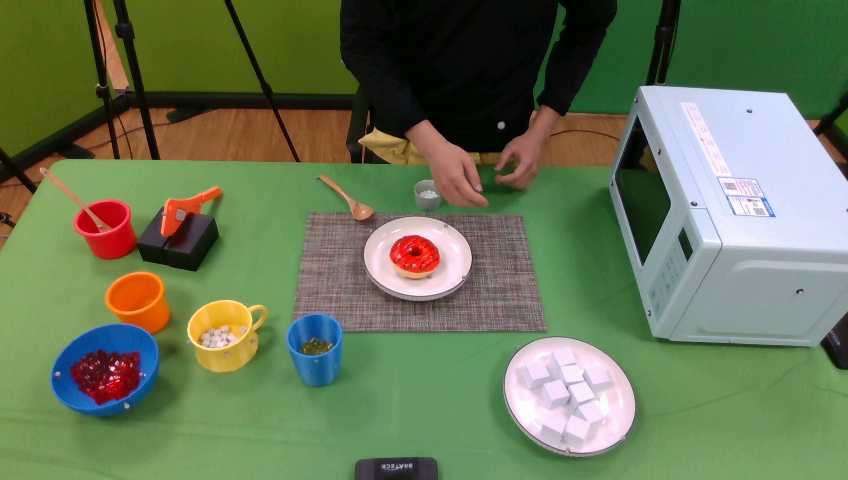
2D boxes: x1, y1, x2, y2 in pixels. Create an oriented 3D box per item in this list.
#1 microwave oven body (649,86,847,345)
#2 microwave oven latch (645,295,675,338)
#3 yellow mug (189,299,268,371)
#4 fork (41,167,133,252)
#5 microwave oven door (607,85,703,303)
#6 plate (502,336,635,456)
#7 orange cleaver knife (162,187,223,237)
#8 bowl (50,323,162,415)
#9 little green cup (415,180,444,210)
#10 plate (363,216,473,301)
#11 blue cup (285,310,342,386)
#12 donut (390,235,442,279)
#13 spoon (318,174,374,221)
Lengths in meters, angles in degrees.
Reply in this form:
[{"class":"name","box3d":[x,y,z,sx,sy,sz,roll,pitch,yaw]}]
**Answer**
[{"class":"microwave oven body","box3d":[0.568,-0.053,1.118,0.326,0.261,0.439,2,45,-1]},{"class":"microwave oven latch","box3d":[0.412,0.134,1.061,0.030,0.029,0.078,3,45,0]},{"class":"yellow mug","box3d":[-0.316,0.148,1.002,0.131,0.064,0.099,-32,56,-31]},{"class":"fork","box3d":[-0.624,-0.056,1.121,0.208,0.018,0.028,50,51,-15]},{"class":"microwave oven door","box3d":[0.423,-0.094,1.140,0.039,0.245,0.353,2,46,-1]},{"class":"plate","box3d":[0.225,0.248,0.963,0.208,0.039,0.206,2,46,-2]},{"class":"orange cleaver knife","box3d":[-0.448,-0.058,1.181,0.012,0.077,0.211,13,17,6]},{"class":"bowl","box3d":[-0.472,0.209,0.924,0.151,0.077,0.150,2,45,-2]},{"class":"little green cup","box3d":[0.010,-0.094,1.278,0.061,0.039,0.061,2,48,-2]},{"class":"plate","box3d":[-0.012,0.038,1.144,0.209,0.038,0.208,2,46,-2]},{"class":"blue cup","box3d":[-0.170,0.179,0.958,0.093,0.101,0.092,2,44,-1]},{"class":"donut","box3d":[-0.016,0.032,1.135,0.099,0.048,0.098,3,44,-3]},{"class":"spoon","box3d":[-0.168,-0.094,1.274,0.041,0.022,0.192,-39,57,-14]}]
